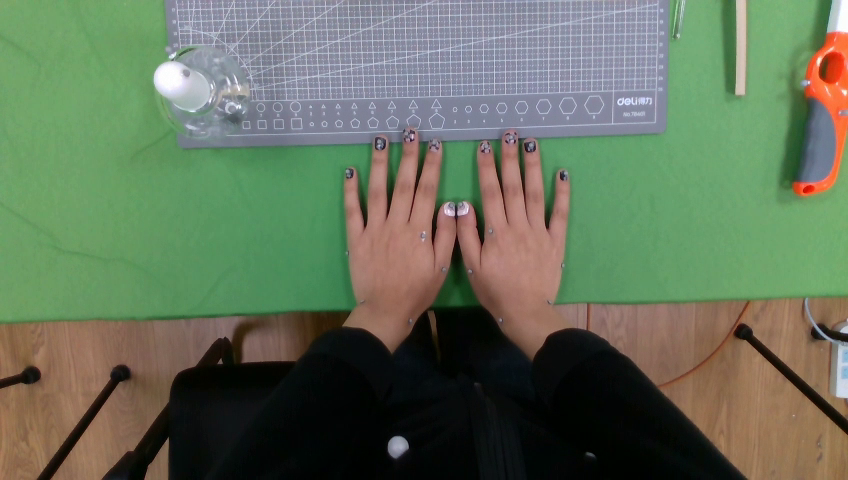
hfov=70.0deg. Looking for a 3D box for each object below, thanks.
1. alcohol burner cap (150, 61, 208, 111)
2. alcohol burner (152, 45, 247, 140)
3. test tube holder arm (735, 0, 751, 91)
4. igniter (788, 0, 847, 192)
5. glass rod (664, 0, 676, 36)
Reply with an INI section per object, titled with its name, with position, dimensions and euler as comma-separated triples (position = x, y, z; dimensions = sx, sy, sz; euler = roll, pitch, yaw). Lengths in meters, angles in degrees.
[alcohol burner cap]
position = -0.187, -0.118, 0.457
dimensions = 0.034, 0.048, 0.034
euler = 0, 90, -2
[alcohol burner]
position = -0.188, -0.121, 0.493
dimensions = 0.078, 0.119, 0.078
euler = 0, 97, 0
[test tube holder arm]
position = 0.284, -0.225, 0.546
dimensions = 0.013, 0.015, 0.179
euler = -4, 100, 36
[igniter]
position = 0.377, -0.181, 0.555
dimensions = 0.057, 0.025, 0.277
euler = 4, 99, -13
[glass rod]
position = 0.233, -0.286, 0.541
dimensions = 0.008, 0.008, 0.200
euler = 4, 101, -3
